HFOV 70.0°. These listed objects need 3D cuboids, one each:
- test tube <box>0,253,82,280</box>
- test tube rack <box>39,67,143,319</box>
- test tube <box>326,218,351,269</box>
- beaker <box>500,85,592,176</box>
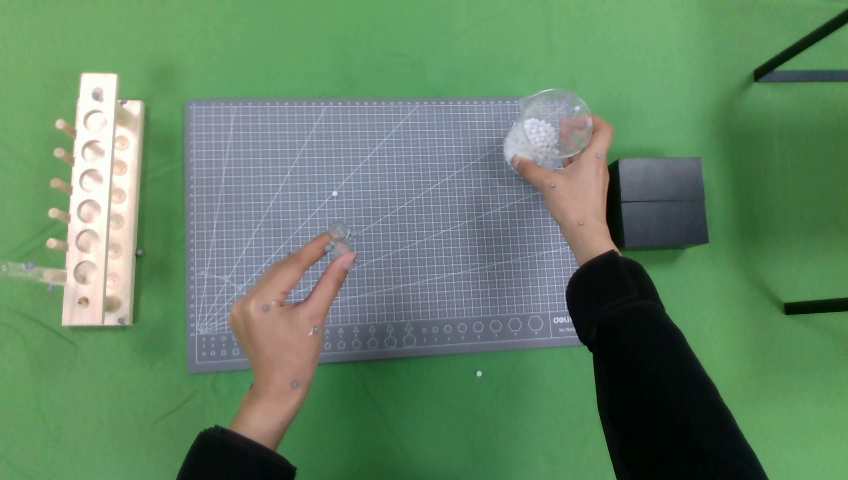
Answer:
[{"bbox_3d":[-0.353,0.026,0.555,0.017,0.150,0.017,1,83,-7],"label":"test tube"},{"bbox_3d":[-0.338,-0.042,0.611,0.067,0.085,0.241,1,83,-7],"label":"test tube rack"},{"bbox_3d":[-0.072,0.006,0.520,0.017,0.150,0.017,1,78,-5],"label":"test tube"},{"bbox_3d":[0.125,-0.116,0.661,0.084,0.100,0.074,34,79,-1],"label":"beaker"}]
